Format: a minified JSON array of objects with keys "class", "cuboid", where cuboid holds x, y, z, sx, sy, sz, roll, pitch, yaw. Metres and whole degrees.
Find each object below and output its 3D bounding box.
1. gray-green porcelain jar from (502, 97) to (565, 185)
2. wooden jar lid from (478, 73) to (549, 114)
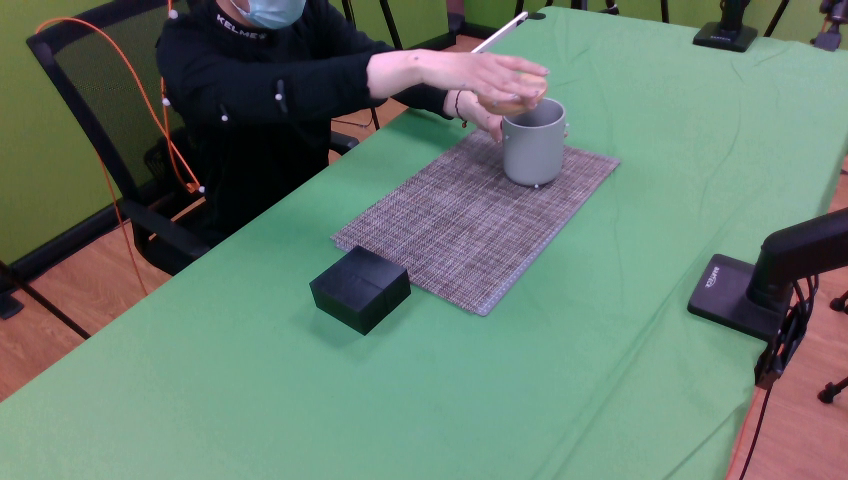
[{"class":"gray-green porcelain jar","cuboid":[0.189,-0.168,1.051,0.106,0.127,0.105,-4,41,4]},{"class":"wooden jar lid","cuboid":[0.139,-0.226,0.934,0.108,0.021,0.108,-11,38,9]}]
